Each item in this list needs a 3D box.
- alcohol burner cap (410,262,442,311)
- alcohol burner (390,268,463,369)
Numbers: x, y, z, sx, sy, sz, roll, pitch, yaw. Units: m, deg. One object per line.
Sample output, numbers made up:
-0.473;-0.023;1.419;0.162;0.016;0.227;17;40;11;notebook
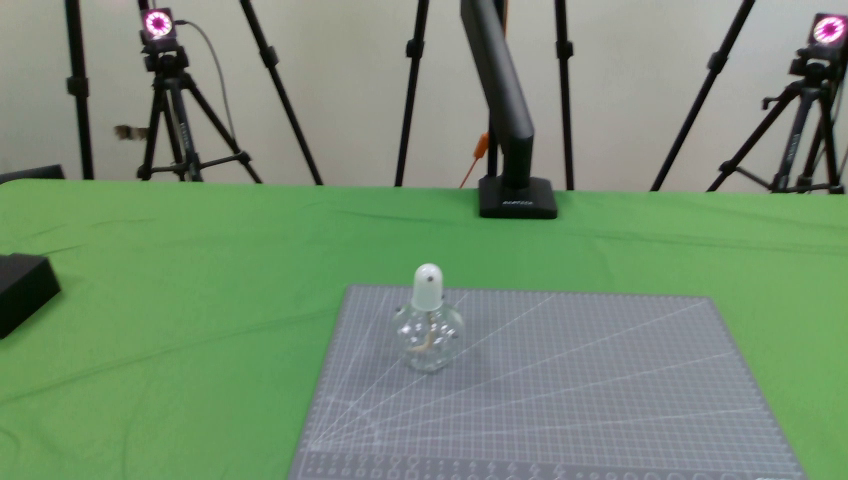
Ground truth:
0.004;0.045;0.610;0.034;0.048;0.033;4;34;-2;alcohol burner cap
0.003;0.075;0.629;0.078;0.120;0.077;1;33;0;alcohol burner
